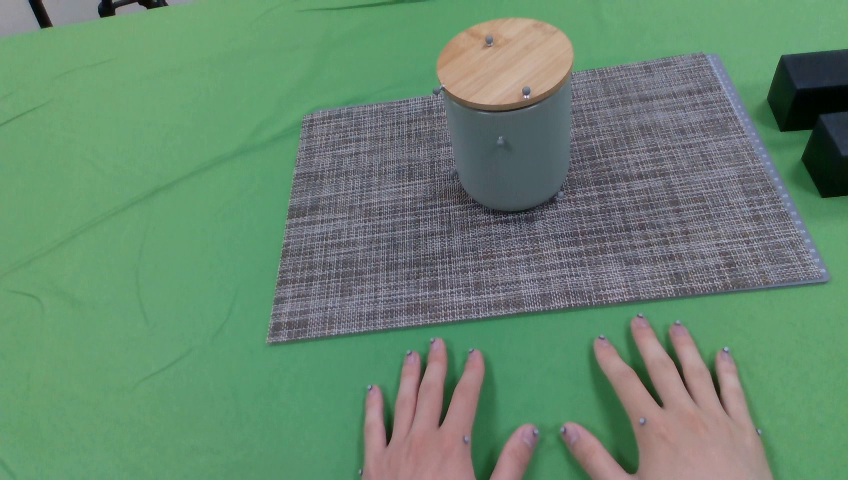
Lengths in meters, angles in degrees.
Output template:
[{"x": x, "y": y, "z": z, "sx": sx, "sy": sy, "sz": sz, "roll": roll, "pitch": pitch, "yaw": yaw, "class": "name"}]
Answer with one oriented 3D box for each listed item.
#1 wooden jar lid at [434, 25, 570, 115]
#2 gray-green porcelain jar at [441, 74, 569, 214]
[{"x": 0.063, "y": -0.134, "z": 0.488, "sx": 0.108, "sy": 0.021, "sz": 0.107, "roll": -6, "pitch": 54, "yaw": 8, "class": "wooden jar lid"}, {"x": 0.074, "y": -0.094, "z": 0.536, "sx": 0.106, "sy": 0.128, "sz": 0.105, "roll": -6, "pitch": 50, "yaw": 8, "class": "gray-green porcelain jar"}]
